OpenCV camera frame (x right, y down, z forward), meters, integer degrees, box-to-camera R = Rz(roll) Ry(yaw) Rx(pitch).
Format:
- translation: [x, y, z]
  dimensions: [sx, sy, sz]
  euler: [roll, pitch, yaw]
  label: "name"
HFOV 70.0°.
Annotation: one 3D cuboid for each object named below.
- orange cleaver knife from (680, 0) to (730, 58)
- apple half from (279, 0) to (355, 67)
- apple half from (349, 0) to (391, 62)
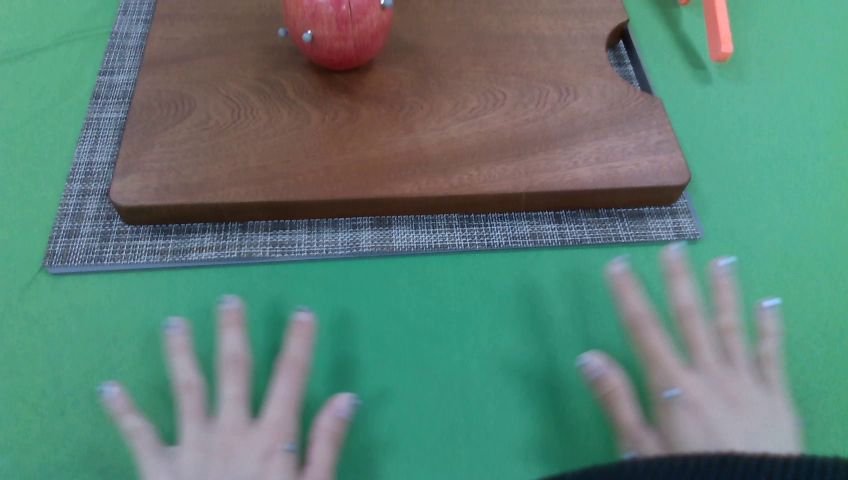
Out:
- translation: [0.249, -0.257, 0.552]
  dimensions: [0.012, 0.077, 0.210]
  euler: [1, 81, -6]
  label: "orange cleaver knife"
- translation: [-0.080, -0.172, 0.451]
  dimensions: [0.053, 0.075, 0.080]
  euler: [-5, 62, -2]
  label: "apple half"
- translation: [-0.040, -0.175, 0.454]
  dimensions: [0.033, 0.082, 0.080]
  euler: [-5, 58, -2]
  label: "apple half"
